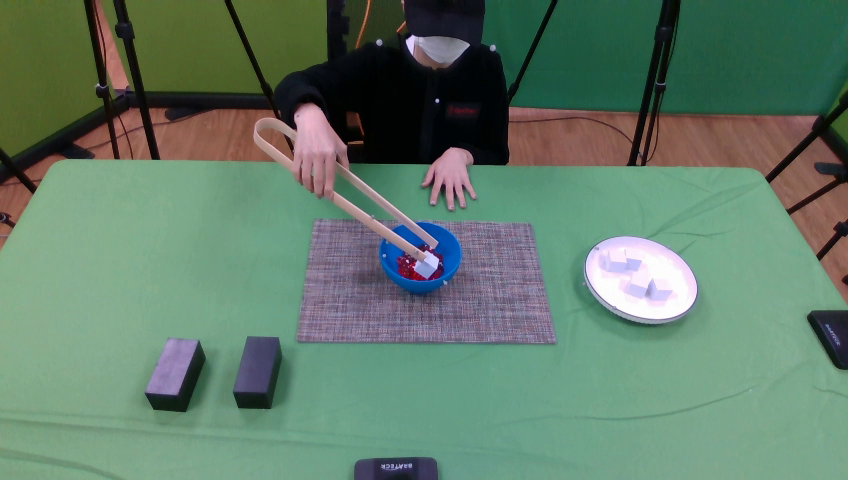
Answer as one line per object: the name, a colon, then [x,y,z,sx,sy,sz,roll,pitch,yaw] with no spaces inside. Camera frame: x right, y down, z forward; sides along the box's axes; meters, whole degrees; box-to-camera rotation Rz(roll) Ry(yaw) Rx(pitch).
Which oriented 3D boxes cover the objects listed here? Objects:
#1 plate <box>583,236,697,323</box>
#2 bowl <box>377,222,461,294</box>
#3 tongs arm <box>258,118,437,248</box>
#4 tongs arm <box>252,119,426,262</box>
plate: [0.403,0.078,1.144,0.209,0.038,0.208,2,45,-2]
bowl: [-0.010,0.046,1.110,0.151,0.077,0.150,2,45,-2]
tongs arm: [-0.137,-0.104,1.087,0.387,0.028,0.028,36,58,3]
tongs arm: [-0.150,-0.087,1.071,0.385,0.026,0.050,34,54,1]
